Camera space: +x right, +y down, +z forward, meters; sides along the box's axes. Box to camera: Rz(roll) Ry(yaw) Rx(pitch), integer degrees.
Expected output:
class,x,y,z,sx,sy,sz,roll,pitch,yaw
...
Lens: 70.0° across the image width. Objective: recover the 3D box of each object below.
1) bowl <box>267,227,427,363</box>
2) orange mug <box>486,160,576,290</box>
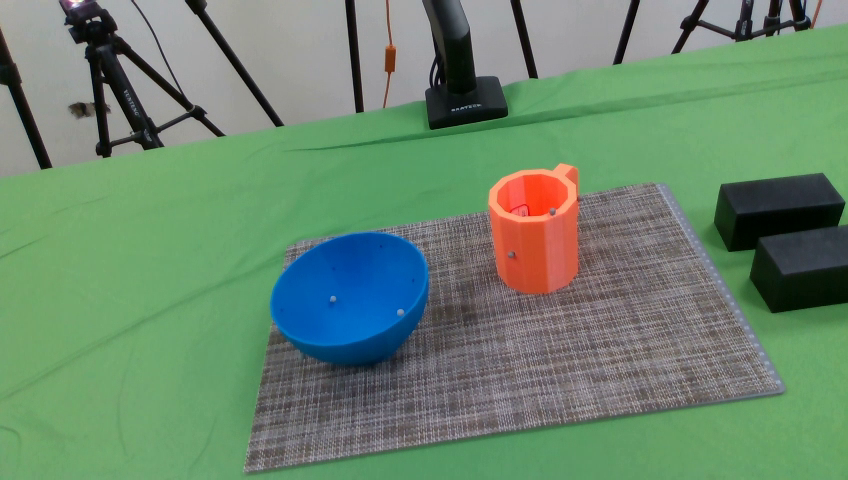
class,x,y,z,sx,sy,sz,roll,pitch,yaw
bowl,-0.065,0.065,0.584,0.151,0.077,0.150,-7,40,7
orange mug,0.121,-0.024,0.623,0.083,0.102,0.126,21,55,34
